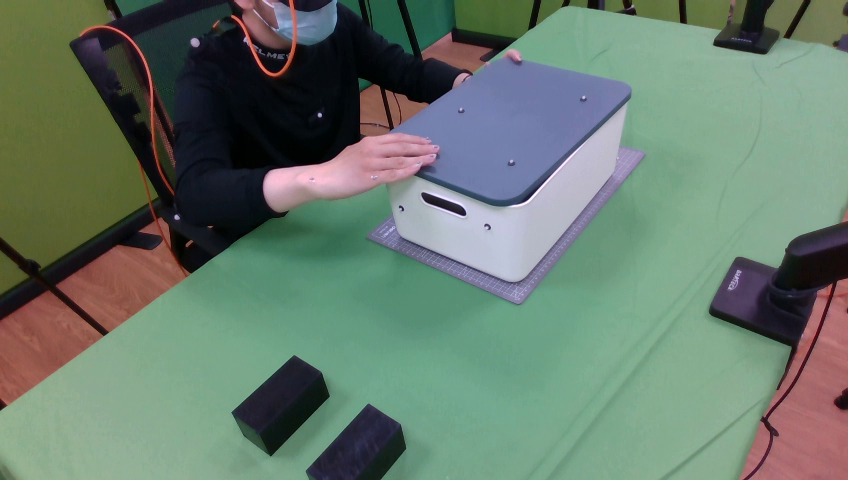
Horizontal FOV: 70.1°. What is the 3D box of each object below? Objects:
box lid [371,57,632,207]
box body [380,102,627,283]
[{"bbox_3d":[0.126,-0.185,0.927,0.261,0.015,0.372,25,50,32],"label":"box lid"},{"bbox_3d":[0.137,-0.121,0.978,0.252,0.161,0.365,22,48,30],"label":"box body"}]
